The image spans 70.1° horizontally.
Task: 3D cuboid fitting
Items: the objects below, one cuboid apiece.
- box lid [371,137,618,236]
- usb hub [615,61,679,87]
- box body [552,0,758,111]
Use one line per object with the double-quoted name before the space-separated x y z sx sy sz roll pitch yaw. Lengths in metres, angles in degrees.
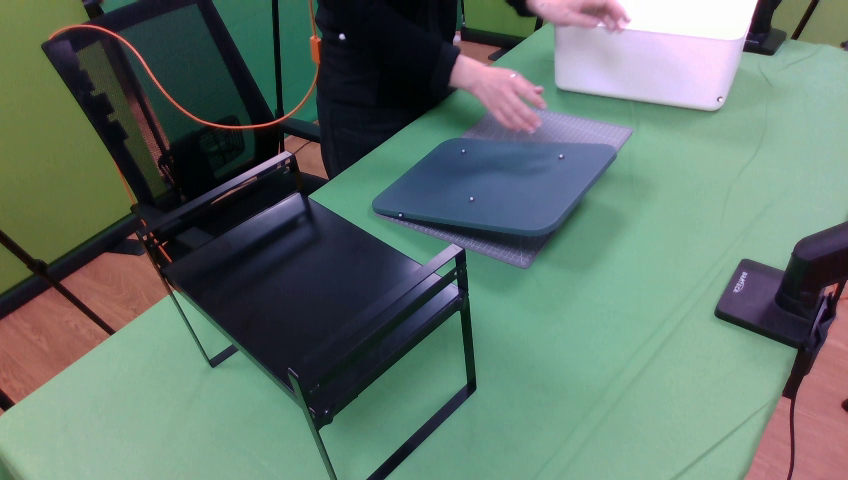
"box lid" 0.109 -0.104 1.028 0.368 0.015 0.264 10 41 39
"usb hub" 0.483 -0.361 1.312 0.124 0.025 0.049 19 49 29
"box body" 0.480 -0.418 1.282 0.362 0.161 0.254 16 46 25
